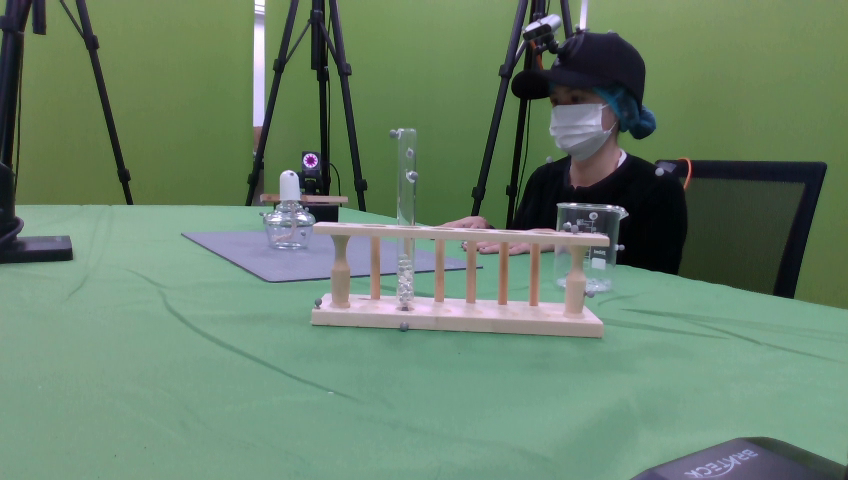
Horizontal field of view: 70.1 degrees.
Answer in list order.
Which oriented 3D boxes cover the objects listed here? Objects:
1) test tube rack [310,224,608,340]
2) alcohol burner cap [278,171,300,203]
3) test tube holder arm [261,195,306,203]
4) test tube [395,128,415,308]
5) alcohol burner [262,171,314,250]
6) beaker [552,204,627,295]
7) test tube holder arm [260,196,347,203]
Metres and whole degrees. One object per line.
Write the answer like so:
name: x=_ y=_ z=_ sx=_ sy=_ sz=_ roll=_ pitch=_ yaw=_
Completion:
test tube rack: x=0.028 y=0.032 z=0.528 sx=0.242 sy=0.085 sz=0.067 roll=3 pitch=7 yaw=0
alcohol burner cap: x=-0.203 y=-0.080 z=0.909 sx=0.034 sy=0.048 sz=0.034 roll=0 pitch=3 yaw=0
test tube holder arm: x=-0.275 y=-0.081 z=1.185 sx=0.088 sy=0.015 sz=0.010 roll=-1 pitch=0 yaw=-32
test tube: x=-0.016 y=-0.017 z=0.502 sx=0.017 sy=0.150 sz=0.017 roll=1 pitch=10 yaw=0
alcohol burner: x=-0.205 y=-0.045 z=0.913 sx=0.078 sy=0.119 sz=0.078 roll=1 pitch=9 yaw=0
beaker: x=0.191 y=0.010 z=0.708 sx=0.083 sy=0.100 sz=0.074 roll=8 pitch=9 yaw=33
test tube holder arm: x=-0.239 y=-0.082 z=1.213 sx=0.179 sy=0.015 sz=0.013 roll=-1 pitch=0 yaw=-32
